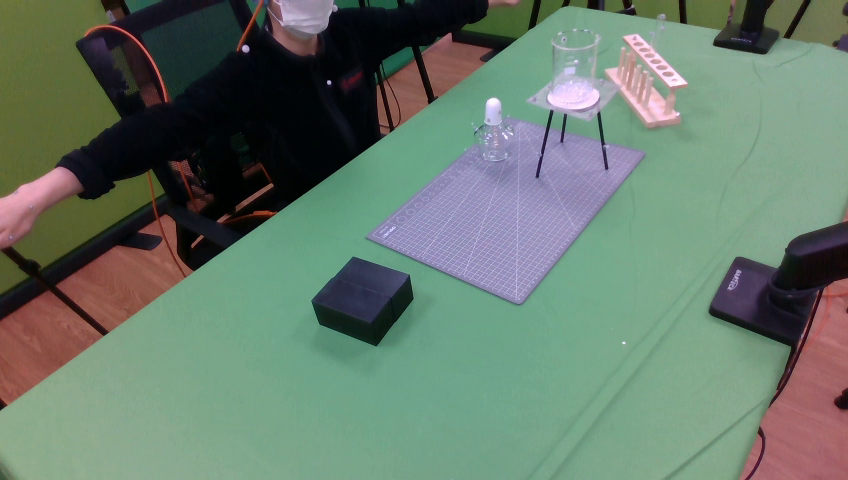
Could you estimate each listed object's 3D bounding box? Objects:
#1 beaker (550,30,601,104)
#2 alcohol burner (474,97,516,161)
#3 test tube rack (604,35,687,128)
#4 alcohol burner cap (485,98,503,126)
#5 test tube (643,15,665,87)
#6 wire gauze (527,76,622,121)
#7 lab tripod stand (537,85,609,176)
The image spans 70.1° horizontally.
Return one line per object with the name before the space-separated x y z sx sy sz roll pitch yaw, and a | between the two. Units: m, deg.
beaker | 0.249 -0.285 1.001 0.084 0.101 0.073 -13 43 -5
alcohol burner | 0.131 -0.208 1.121 0.078 0.119 0.077 -6 40 5
test tube rack | 0.447 -0.330 1.241 0.067 0.085 0.241 -9 41 -2
alcohol burner cap | 0.126 -0.234 1.097 0.034 0.048 0.033 -3 39 3
test tube | 0.460 -0.378 1.219 0.017 0.151 0.017 -1 43 1
wire gauze | 0.255 -0.247 1.030 0.124 0.011 0.122 23 49 34
lab tripod stand | 0.259 -0.192 1.068 0.148 0.132 0.147 -4 43 4
